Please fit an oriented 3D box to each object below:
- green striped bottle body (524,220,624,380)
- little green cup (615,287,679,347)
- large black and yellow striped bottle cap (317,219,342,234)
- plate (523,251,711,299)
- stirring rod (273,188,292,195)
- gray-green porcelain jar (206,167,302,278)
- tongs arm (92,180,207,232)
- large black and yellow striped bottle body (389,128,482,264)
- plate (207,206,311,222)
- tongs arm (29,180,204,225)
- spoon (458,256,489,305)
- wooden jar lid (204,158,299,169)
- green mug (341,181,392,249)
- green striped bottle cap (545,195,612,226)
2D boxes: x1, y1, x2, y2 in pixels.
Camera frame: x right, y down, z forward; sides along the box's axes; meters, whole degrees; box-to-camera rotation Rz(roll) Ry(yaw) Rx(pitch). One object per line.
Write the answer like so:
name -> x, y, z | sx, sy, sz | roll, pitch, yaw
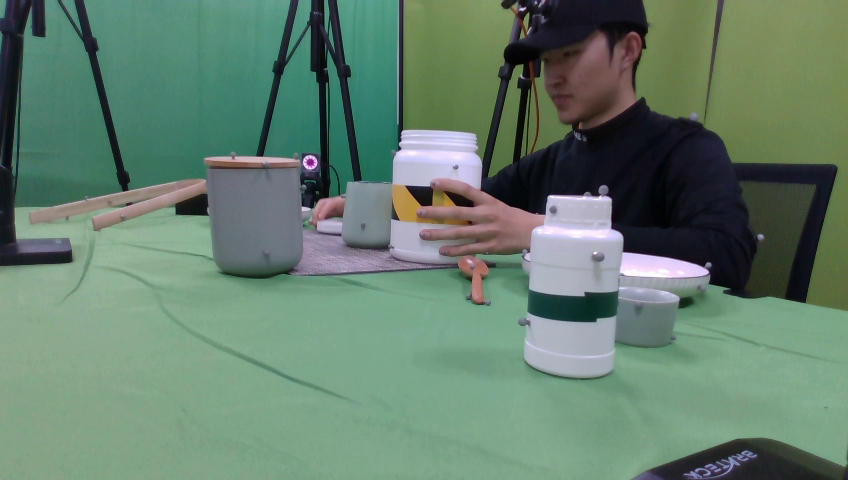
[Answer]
green striped bottle body -> 0.104, 0.031, 0.422 | 0.063, 0.119, 0.063 | 2, 8, 0
little green cup -> 0.180, 0.064, 0.506 | 0.061, 0.038, 0.061 | 2, 8, 0
large black and yellow striped bottle cap -> -0.145, -0.028, 1.150 | 0.115, 0.019, 0.115 | -3, 8, 1
plate -> 0.219, 0.041, 0.706 | 0.209, 0.038, 0.209 | 2, 7, 0
stirring rod -> -0.354, -0.122, 1.518 | 0.006, 0.014, 0.176 | 2, 6, 1
gray-green porcelain jar -> -0.201, -0.024, 0.725 | 0.106, 0.126, 0.106 | -1, 9, 1
tongs arm -> -0.534, -0.076, 1.221 | 0.028, 0.028, 0.388 | -2, 15, 12
large black and yellow striped bottle body -> 0.017, -0.065, 0.873 | 0.131, 0.184, 0.130 | 2, 7, 0
plate -> -0.342, -0.050, 1.259 | 0.208, 0.039, 0.207 | 2, 7, 0
tongs arm -> -0.609, -0.083, 1.245 | 0.050, 0.026, 0.386 | 5, 16, 23
spoon -> 0.059, 0.044, 0.695 | 0.041, 0.021, 0.194 | 18, 7, 0
wooden jar lid -> -0.202, -0.086, 0.714 | 0.108, 0.020, 0.108 | 3, 11, 0
green mug -> -0.090, -0.044, 0.996 | 0.093, 0.105, 0.125 | 1, 7, -9
green striped bottle cap -> 0.106, -0.020, 0.414 | 0.044, 0.020, 0.044 | 2, 4, 0
